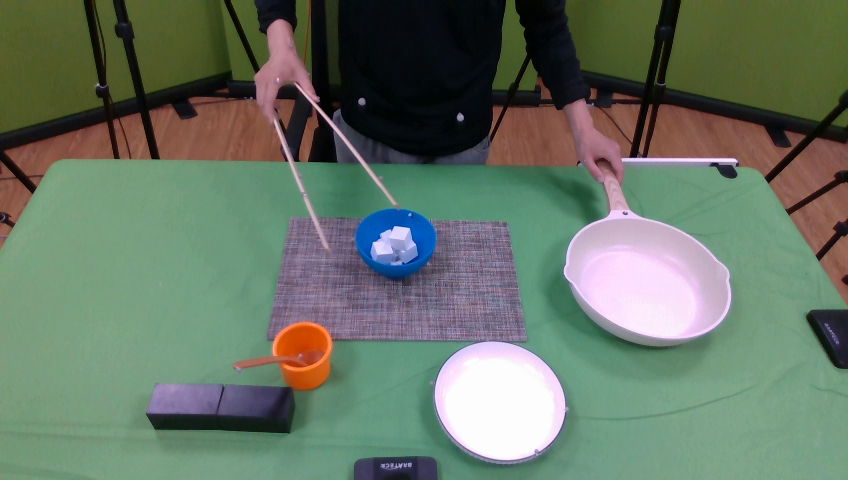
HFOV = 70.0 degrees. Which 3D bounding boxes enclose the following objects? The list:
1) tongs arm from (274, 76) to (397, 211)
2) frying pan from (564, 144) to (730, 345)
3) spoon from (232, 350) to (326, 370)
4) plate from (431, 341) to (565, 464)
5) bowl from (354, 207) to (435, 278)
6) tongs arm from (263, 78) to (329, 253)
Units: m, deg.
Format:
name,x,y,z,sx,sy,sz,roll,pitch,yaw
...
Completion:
name,x,y,z,sx,sy,sz,roll,pitch,yaw
tongs arm,-0.161,-0.182,1.082,0.028,0.028,0.385,-41,64,2
frying pan,0.396,-0.008,1.179,0.307,0.103,0.484,0,55,-5
spoon,-0.216,0.182,0.919,0.041,0.194,0.021,43,101,27
plate,0.114,0.255,0.951,0.208,0.039,0.206,3,46,-2
bowl,-0.056,0.018,1.132,0.151,0.077,0.150,2,46,-2
tongs arm,-0.223,-0.143,1.083,0.051,0.026,0.382,-30,63,3
